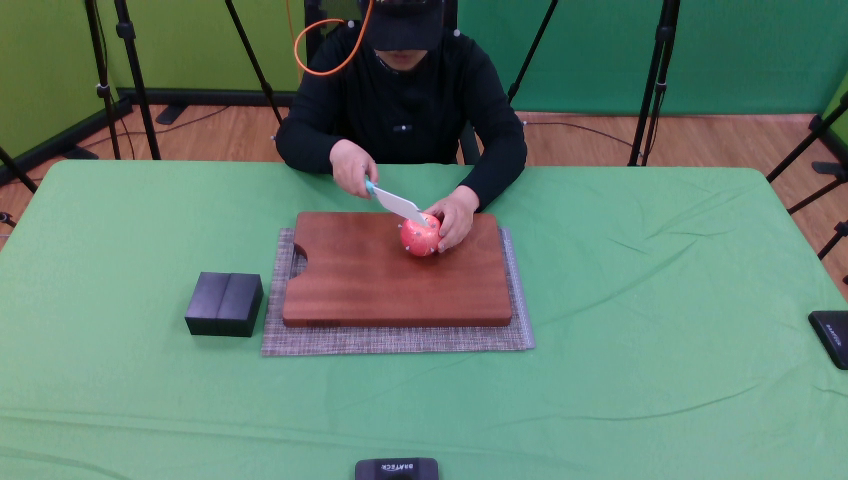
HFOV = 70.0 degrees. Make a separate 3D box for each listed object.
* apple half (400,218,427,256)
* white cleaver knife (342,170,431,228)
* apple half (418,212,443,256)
[{"bbox_3d":[-0.026,-0.001,1.121,0.033,0.081,0.081,-19,50,-26],"label":"apple half"},{"bbox_3d":[-0.077,-0.075,1.108,0.021,0.066,0.285,-40,35,-15],"label":"white cleaver knife"},{"bbox_3d":[0.008,-0.013,1.137,0.053,0.075,0.080,-19,47,-26],"label":"apple half"}]
